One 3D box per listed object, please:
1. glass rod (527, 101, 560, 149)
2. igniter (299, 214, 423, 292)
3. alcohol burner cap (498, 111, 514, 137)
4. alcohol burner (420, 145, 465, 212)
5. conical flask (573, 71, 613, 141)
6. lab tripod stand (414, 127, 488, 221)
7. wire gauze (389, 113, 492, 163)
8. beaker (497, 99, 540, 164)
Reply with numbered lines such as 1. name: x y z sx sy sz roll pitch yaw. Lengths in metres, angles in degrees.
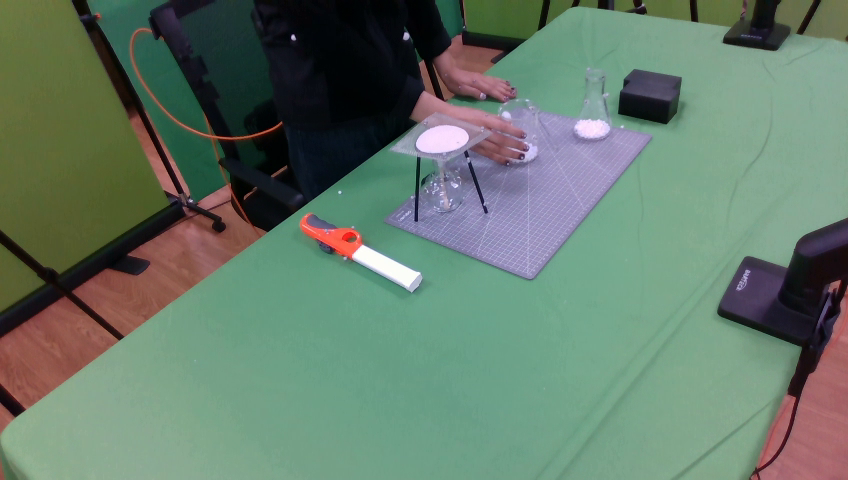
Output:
1. glass rod: 0.240 -0.237 1.223 0.008 0.008 0.198 -12 40 -2
2. igniter: -0.113 0.016 0.983 0.274 0.025 0.057 26 62 35
3. alcohol burner cap: 0.163 -0.234 1.211 0.034 0.048 0.033 -6 40 6
4. alcohol burner: 0.030 -0.108 1.030 0.078 0.119 0.077 -5 38 4
5. conical flask: 0.321 -0.256 1.142 0.075 0.122 0.075 -5 40 5
6. lab tripod stand: 0.035 -0.114 1.021 0.148 0.132 0.147 -7 39 6
7. wire gauze: 0.026 -0.164 0.977 0.120 0.011 0.125 24 49 35
8. beaker: 0.179 -0.197 1.115 0.074 0.101 0.083 -26 43 -17
